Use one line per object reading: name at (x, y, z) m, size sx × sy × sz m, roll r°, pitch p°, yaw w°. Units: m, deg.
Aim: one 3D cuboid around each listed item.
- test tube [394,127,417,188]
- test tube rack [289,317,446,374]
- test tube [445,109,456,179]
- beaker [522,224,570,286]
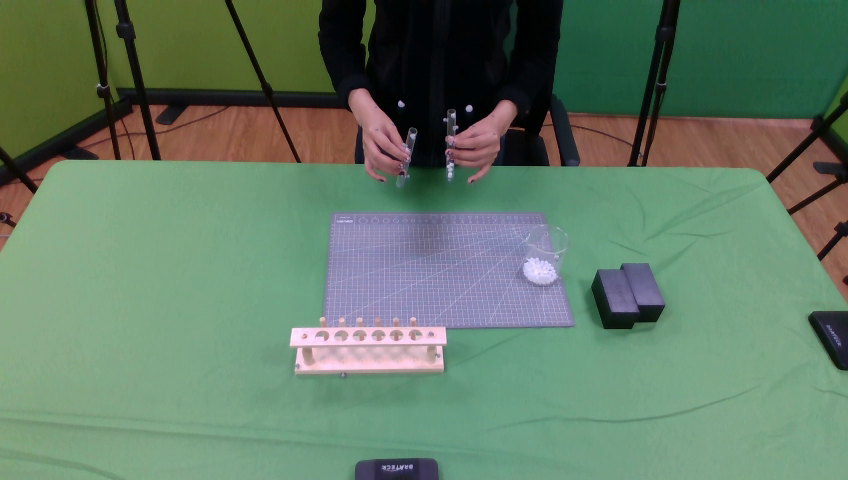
test tube at (-0.035, -0.147, 1.102) m, size 0.017 × 0.151 × 0.017 m, roll 7°, pitch 53°, yaw -10°
test tube rack at (-0.089, 0.167, 0.988) m, size 0.242 × 0.085 × 0.066 m, roll 0°, pitch 46°, yaw -4°
test tube at (0.048, -0.173, 1.112) m, size 0.017 × 0.151 × 0.017 m, roll 0°, pitch 45°, yaw 0°
beaker at (0.221, 0.032, 1.129) m, size 0.084 × 0.101 × 0.073 m, roll -6°, pitch 46°, yaw -9°
